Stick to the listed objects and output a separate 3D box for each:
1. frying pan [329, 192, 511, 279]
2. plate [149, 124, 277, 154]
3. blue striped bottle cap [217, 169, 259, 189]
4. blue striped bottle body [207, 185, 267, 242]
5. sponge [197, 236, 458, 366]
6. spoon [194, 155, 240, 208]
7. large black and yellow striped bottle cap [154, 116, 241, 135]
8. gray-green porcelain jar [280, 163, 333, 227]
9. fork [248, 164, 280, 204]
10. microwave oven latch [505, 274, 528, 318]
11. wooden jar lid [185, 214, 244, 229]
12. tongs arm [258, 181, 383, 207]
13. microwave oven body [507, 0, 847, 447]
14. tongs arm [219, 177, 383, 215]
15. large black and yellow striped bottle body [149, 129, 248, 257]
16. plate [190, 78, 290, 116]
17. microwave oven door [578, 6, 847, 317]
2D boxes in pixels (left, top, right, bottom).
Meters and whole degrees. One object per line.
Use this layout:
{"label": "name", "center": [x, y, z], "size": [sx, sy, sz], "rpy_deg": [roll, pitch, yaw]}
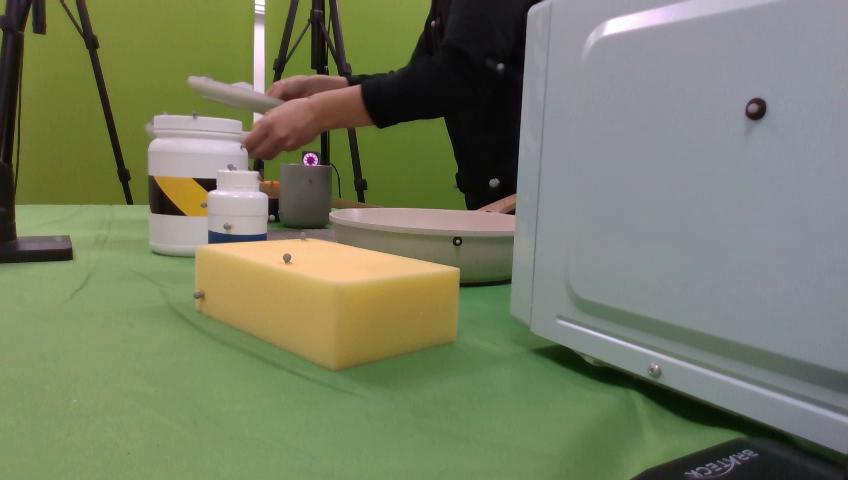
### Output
{"label": "frying pan", "center": [0.072, -0.030, 0.883], "size": [0.305, 0.102, 0.490], "rpy_deg": [7, 17, 28]}
{"label": "plate", "center": [-0.361, -0.173, 1.042], "size": [0.209, 0.038, 0.209], "rpy_deg": [5, 10, -1]}
{"label": "blue striped bottle cap", "center": [-0.202, -0.067, 0.657], "size": [0.044, 0.020, 0.044], "rpy_deg": [0, 10, 0]}
{"label": "blue striped bottle body", "center": [-0.204, -0.016, 0.663], "size": [0.063, 0.120, 0.063], "rpy_deg": [2, 7, 0]}
{"label": "sponge", "center": [-0.087, 0.039, 0.500], "size": [0.206, 0.061, 0.119], "rpy_deg": [8, 9, 44]}
{"label": "spoon", "center": [-0.486, -0.134, 1.415], "size": [0.041, 0.021, 0.194], "rpy_deg": [8, -35, 21]}
{"label": "large black and yellow striped bottle cap", "center": [-0.314, -0.158, 0.843], "size": [0.115, 0.019, 0.115], "rpy_deg": [3, 7, 0]}
{"label": "gray-green porcelain jar", "center": [-0.237, -0.092, 1.221], "size": [0.106, 0.126, 0.106], "rpy_deg": [1, 7, 0]}
{"label": "fork", "center": [-0.399, -0.143, 1.489], "size": [0.028, 0.018, 0.208], "rpy_deg": [23, -23, 47]}
{"label": "microwave oven latch", "center": [0.100, 0.041, 0.471], "size": [0.079, 0.029, 0.030], "rpy_deg": [-2, 8, -29]}
{"label": "wooden jar lid", "center": [-0.404, -0.037, 1.169], "size": [0.108, 0.020, 0.108], "rpy_deg": [3, 7, 0]}
{"label": "tongs arm", "center": [-0.242, -0.095, 1.374], "size": [0.387, 0.026, 0.050], "rpy_deg": [8, -1, -38]}
{"label": "microwave oven body", "center": [0.331, -0.042, 0.425], "size": [0.444, 0.260, 0.324], "rpy_deg": [-2, 8, -31]}
{"label": "tongs arm", "center": [-0.286, -0.103, 1.445], "size": [0.389, 0.027, 0.028], "rpy_deg": [9, -5, -23]}
{"label": "large black and yellow striped bottle body", "center": [-0.315, -0.075, 0.854], "size": [0.131, 0.184, 0.130], "rpy_deg": [1, 7, 0]}
{"label": "plate", "center": [-0.395, -0.302, 1.300], "size": [0.208, 0.039, 0.207], "rpy_deg": [13, 6, -1]}
{"label": "microwave oven door", "center": [0.294, -0.067, 0.570], "size": [0.358, 0.243, 0.039], "rpy_deg": [-3, 9, -31]}
